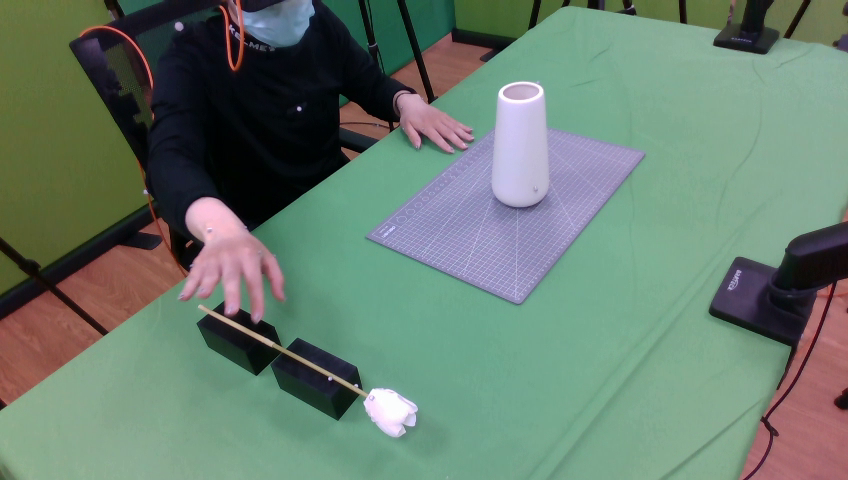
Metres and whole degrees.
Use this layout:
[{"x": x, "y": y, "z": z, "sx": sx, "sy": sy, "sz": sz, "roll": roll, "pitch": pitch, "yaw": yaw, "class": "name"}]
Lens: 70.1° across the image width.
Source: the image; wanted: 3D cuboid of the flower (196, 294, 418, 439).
[{"x": -0.162, "y": 0.142, "z": 0.752, "sx": 0.359, "sy": 0.038, "sz": 0.044, "roll": 24, "pitch": 67, "yaw": 26, "class": "flower"}]

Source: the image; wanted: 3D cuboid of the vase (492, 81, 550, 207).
[{"x": 0.159, "y": -0.151, "z": 0.982, "sx": 0.098, "sy": 0.201, "sz": 0.097, "roll": -3, "pitch": 41, "yaw": 3, "class": "vase"}]
